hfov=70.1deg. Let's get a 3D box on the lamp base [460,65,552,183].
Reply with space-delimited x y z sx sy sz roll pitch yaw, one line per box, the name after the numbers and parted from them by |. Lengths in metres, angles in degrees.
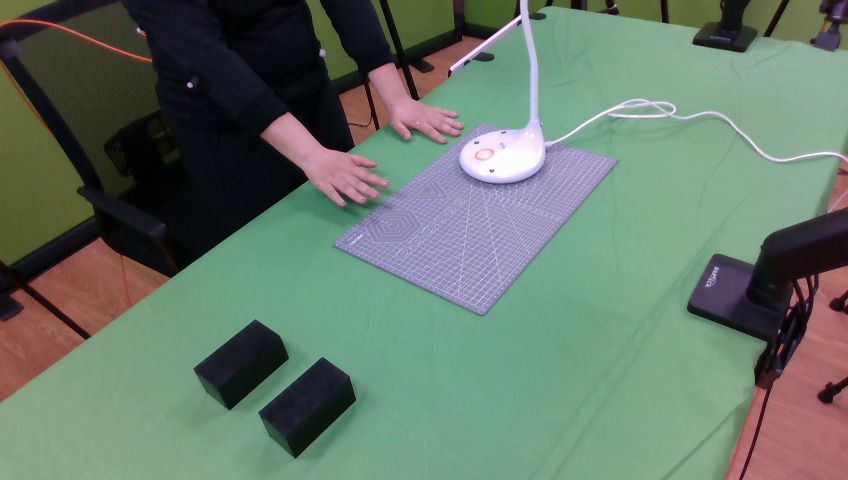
0.149 -0.218 1.078 0.180 0.181 0.159 -19 41 -17 | lamp base
